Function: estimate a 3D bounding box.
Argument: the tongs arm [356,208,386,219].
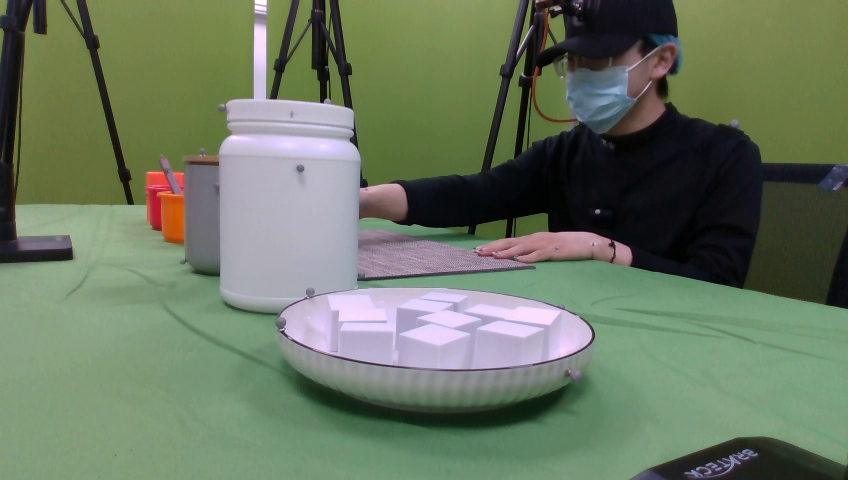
[{"bbox_3d":[-0.252,-0.062,1.361,0.387,0.026,0.050,-1,4,-31],"label":"tongs arm"}]

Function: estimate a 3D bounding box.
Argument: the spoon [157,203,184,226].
[{"bbox_3d":[-0.425,-0.094,1.118,0.041,0.022,0.194,5,51,28],"label":"spoon"}]

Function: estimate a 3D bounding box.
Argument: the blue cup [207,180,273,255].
[{"bbox_3d":[-0.261,-0.032,0.865,0.093,0.100,0.092,3,9,0],"label":"blue cup"}]

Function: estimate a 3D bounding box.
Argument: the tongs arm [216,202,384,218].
[{"bbox_3d":[-0.288,-0.071,1.435,0.389,0.027,0.028,1,0,-18],"label":"tongs arm"}]

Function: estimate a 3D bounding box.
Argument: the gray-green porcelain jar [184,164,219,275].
[{"bbox_3d":[-0.230,-0.025,0.722,0.106,0.126,0.106,3,7,0],"label":"gray-green porcelain jar"}]

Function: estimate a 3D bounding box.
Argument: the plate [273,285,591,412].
[{"bbox_3d":[0.005,0.069,0.408,0.208,0.039,0.207,2,7,0],"label":"plate"}]

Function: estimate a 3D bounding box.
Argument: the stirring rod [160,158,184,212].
[{"bbox_3d":[-0.390,-0.070,0.972,0.014,0.006,0.175,-2,50,-48],"label":"stirring rod"}]

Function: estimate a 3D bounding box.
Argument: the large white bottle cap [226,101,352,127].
[{"bbox_3d":[-0.125,-0.116,0.566,0.115,0.018,0.115,2,8,0],"label":"large white bottle cap"}]

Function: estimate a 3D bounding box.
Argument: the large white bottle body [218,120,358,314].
[{"bbox_3d":[-0.129,-0.032,0.578,0.131,0.184,0.130,2,7,0],"label":"large white bottle body"}]

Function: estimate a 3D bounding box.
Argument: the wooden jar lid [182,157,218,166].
[{"bbox_3d":[-0.227,-0.086,0.714,0.108,0.020,0.108,0,6,0],"label":"wooden jar lid"}]

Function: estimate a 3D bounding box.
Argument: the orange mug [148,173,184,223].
[{"bbox_3d":[-0.490,-0.087,1.222,0.127,0.101,0.083,-9,13,-38],"label":"orange mug"}]
